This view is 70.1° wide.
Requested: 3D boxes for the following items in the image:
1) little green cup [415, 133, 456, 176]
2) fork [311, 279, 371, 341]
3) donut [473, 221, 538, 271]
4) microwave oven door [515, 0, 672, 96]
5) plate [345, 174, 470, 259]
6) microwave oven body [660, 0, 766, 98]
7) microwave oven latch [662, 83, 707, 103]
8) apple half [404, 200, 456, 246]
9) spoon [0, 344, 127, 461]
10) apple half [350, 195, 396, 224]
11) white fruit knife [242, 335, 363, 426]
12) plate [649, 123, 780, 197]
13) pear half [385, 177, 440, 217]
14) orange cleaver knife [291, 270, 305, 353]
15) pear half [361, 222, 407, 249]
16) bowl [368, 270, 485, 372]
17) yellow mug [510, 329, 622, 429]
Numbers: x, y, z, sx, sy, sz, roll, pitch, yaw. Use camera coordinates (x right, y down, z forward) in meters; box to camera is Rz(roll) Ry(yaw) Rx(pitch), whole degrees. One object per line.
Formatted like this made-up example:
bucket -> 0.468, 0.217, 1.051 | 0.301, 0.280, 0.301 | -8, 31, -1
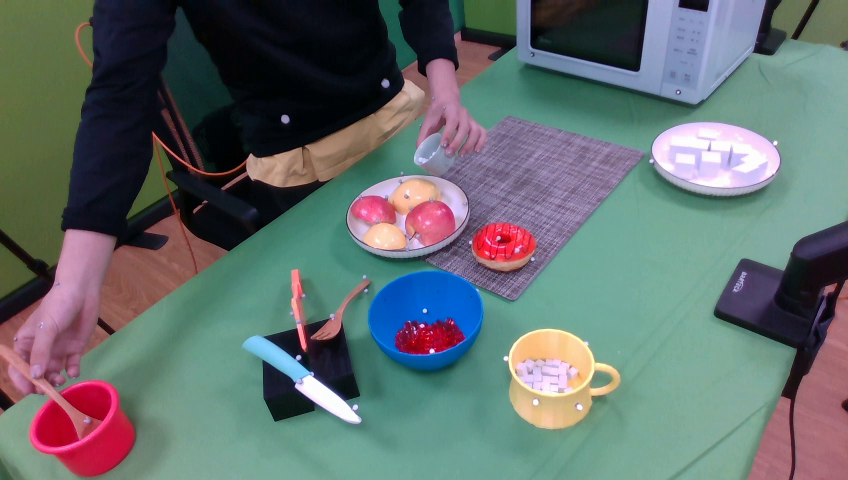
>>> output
little green cup -> 0.020, -0.134, 0.961 | 0.061, 0.039, 0.061 | -35, 33, 28
fork -> -0.108, 0.092, 0.832 | 0.028, 0.019, 0.207 | -6, 19, 15
donut -> 0.123, 0.008, 0.923 | 0.099, 0.048, 0.098 | -3, 38, 3
microwave oven door -> 0.343, -0.455, 1.259 | 0.353, 0.245, 0.039 | 26, 51, 33
plate -> -0.026, -0.036, 1.004 | 0.209, 0.038, 0.208 | -4, 40, 4
microwave oven body -> 0.472, -0.513, 1.317 | 0.438, 0.261, 0.327 | 26, 51, 34
microwave oven latch -> 0.517, -0.296, 1.204 | 0.078, 0.029, 0.030 | 28, 52, 35
apple half -> 0.009, -0.035, 0.969 | 0.075, 0.053, 0.080 | -27, 40, -22
spoon -> -0.433, 0.191, 0.721 | 0.194, 0.021, 0.042 | 47, 54, -7
apple half -> -0.080, -0.056, 1.008 | 0.081, 0.033, 0.081 | 11, 24, -4
white fruit knife -> -0.148, 0.166, 0.730 | 0.206, 0.016, 0.027 | 26, 80, 31
plate -> 0.497, -0.135, 1.046 | 0.207, 0.039, 0.206 | -4, 40, 4
pear half -> -0.030, -0.079, 1.033 | 0.109, 0.056, 0.076 | 0, 36, 15
orange cleaver knife -> -0.175, 0.094, 0.844 | 0.012, 0.077, 0.210 | -11, 14, -10
pear half -> -0.063, -0.012, 0.958 | 0.071, 0.031, 0.087 | 2, 24, -25
bowl -> 0.007, 0.118, 0.791 | 0.151, 0.077, 0.150 | -5, 40, 4
yellow mug -> 0.168, 0.164, 0.721 | 0.130, 0.064, 0.099 | 0, 40, 8
